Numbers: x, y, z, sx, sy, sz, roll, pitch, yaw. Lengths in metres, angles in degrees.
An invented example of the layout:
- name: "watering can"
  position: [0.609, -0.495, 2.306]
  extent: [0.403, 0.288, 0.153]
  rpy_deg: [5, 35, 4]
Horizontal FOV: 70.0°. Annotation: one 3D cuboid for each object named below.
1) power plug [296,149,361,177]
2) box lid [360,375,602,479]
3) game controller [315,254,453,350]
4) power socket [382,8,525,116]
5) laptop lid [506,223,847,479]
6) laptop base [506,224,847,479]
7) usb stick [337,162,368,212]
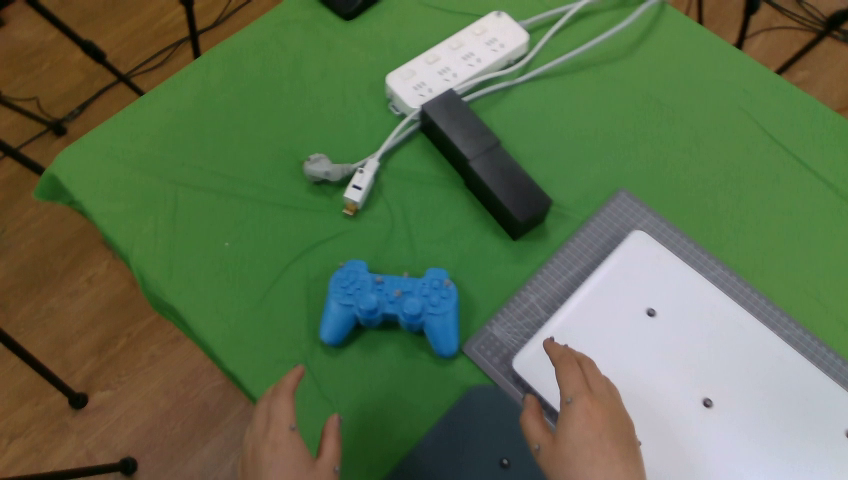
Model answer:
- name: "power plug"
  position: [-0.124, -0.097, 0.768]
  extent: [0.073, 0.035, 0.052]
  rpy_deg: [-7, 33, -42]
- name: "box lid"
  position: [0.096, 0.335, 0.580]
  extent: [0.369, 0.015, 0.263]
  rpy_deg: [42, 71, 16]
- name: "game controller"
  position: [-0.042, 0.066, 0.680]
  extent: [0.155, 0.052, 0.096]
  rpy_deg: [6, 63, 1]
- name: "power socket"
  position: [0.042, -0.246, 0.831]
  extent: [0.227, 0.033, 0.071]
  rpy_deg: [-35, 71, -16]
- name: "laptop lid"
  position: [0.290, 0.163, 0.644]
  extent: [0.241, 0.013, 0.354]
  rpy_deg: [-42, 73, -15]
- name: "laptop base"
  position: [0.292, 0.166, 0.655]
  extent: [0.352, 0.023, 0.235]
  rpy_deg: [42, 75, 16]
- name: "usb stick"
  position: [-0.090, -0.064, 0.746]
  extent: [0.021, 0.027, 0.059]
  rpy_deg: [23, 74, 0]
